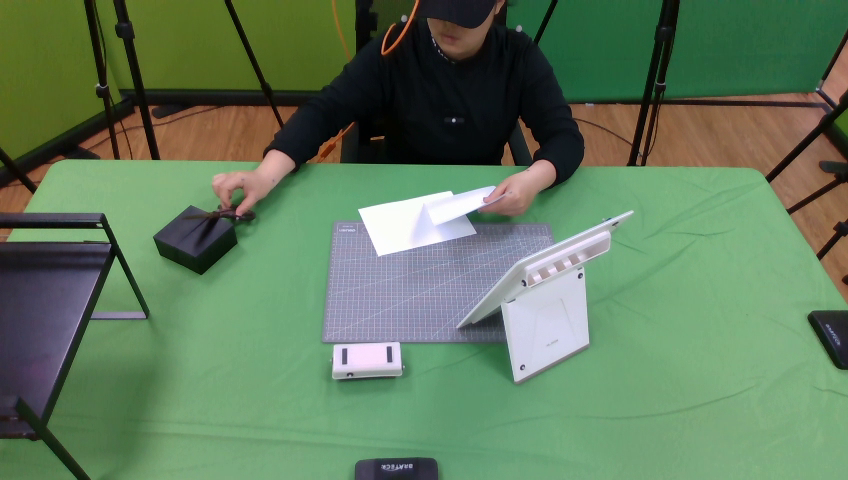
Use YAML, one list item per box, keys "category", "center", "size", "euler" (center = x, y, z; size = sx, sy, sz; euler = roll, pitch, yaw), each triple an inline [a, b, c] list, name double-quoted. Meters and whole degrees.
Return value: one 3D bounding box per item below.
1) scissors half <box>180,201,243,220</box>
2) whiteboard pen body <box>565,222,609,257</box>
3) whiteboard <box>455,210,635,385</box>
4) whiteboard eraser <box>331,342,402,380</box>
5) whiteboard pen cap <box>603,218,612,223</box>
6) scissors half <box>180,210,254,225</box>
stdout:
- category: "scissors half"
  center: [-0.407, -0.053, 1.161]
  size: [0.040, 0.013, 0.175]
  euler: [29, 19, 9]
- category: "whiteboard pen body"
  center: [0.334, -0.004, 1.229]
  size: [0.141, 0.017, 0.017]
  euler: [-33, 56, -29]
- category: "whiteboard"
  center: [0.211, 0.111, 0.955]
  size: [0.217, 0.306, 0.143]
  euler: [-21, 71, -23]
- category: "whiteboard eraser"
  center: [-0.094, 0.198, 0.986]
  size: [0.113, 0.042, 0.055]
  euler: [-2, 44, -6]
- category: "whiteboard pen cap"
  center: [0.378, -0.031, 1.255]
  size: [0.033, 0.018, 0.018]
  euler: [-33, 57, -30]
- category: "scissors half"
  center: [-0.391, -0.042, 1.155]
  size: [0.040, 0.013, 0.175]
  euler: [41, 22, 24]
